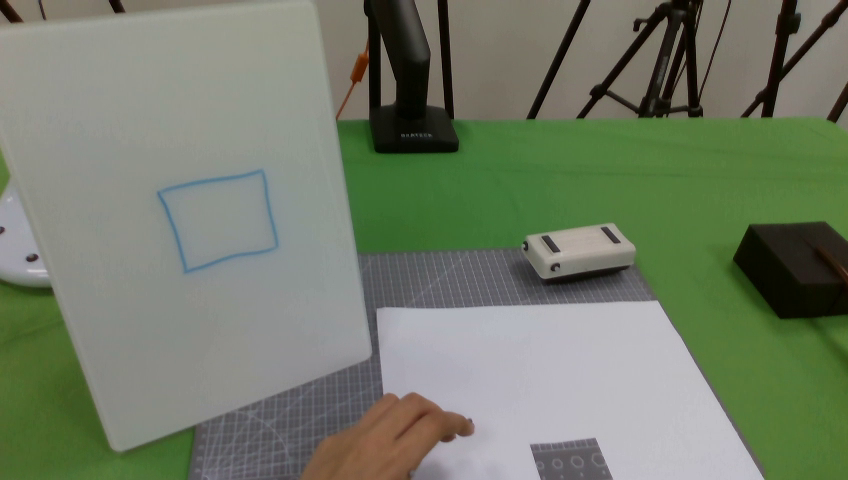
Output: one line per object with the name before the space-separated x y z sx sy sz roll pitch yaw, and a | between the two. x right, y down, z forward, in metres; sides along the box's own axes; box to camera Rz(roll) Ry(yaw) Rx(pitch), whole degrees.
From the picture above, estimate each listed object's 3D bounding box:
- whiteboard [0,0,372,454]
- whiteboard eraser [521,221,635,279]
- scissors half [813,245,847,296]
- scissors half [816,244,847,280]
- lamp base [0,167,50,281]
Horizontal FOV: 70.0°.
whiteboard | -0.186 -0.027 0.501 0.218 0.307 0.142 -16 24 -24
whiteboard eraser | 0.167 0.012 0.661 0.113 0.042 0.055 -8 41 -16
scissors half | 0.433 0.059 0.587 0.013 0.040 0.173 -8 37 -4
scissors half | 0.434 0.073 0.601 0.013 0.040 0.173 -4 55 -7
lamp base | -0.378 -0.077 0.594 0.178 0.182 0.160 23 41 25
